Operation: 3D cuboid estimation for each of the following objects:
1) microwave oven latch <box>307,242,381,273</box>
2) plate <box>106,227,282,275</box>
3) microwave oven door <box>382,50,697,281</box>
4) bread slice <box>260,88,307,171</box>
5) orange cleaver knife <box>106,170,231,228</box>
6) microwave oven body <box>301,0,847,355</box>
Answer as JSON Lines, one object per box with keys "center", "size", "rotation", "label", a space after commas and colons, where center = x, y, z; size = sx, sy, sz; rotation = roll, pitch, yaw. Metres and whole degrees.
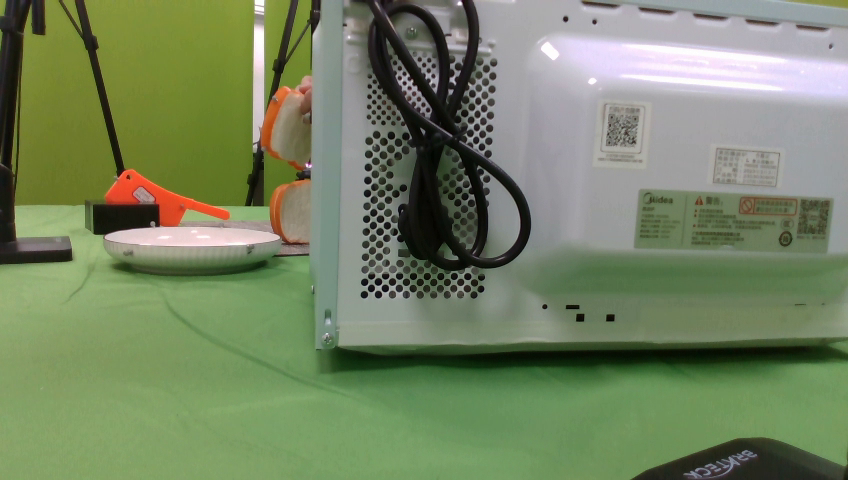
{"center": [-0.086, 0.019, 0.656], "size": [0.079, 0.029, 0.030], "rotation": [2, 7, -10], "label": "microwave oven latch"}
{"center": [-0.288, 0.013, 0.772], "size": [0.208, 0.039, 0.207], "rotation": [2, 7, 0], "label": "plate"}
{"center": [0.135, -0.077, 0.685], "size": [0.357, 0.243, 0.039], "rotation": [1, 8, -12], "label": "microwave oven door"}
{"center": [-0.192, -0.165, 0.888], "size": [0.018, 0.107, 0.134], "rotation": [20, -2, 17], "label": "bread slice"}
{"center": [-0.458, -0.060, 1.097], "size": [0.212, 0.077, 0.012], "rotation": [23, -4, -38], "label": "orange cleaver knife"}
{"center": [0.120, -0.053, 0.535], "size": [0.443, 0.260, 0.325], "rotation": [2, 7, -11], "label": "microwave oven body"}
